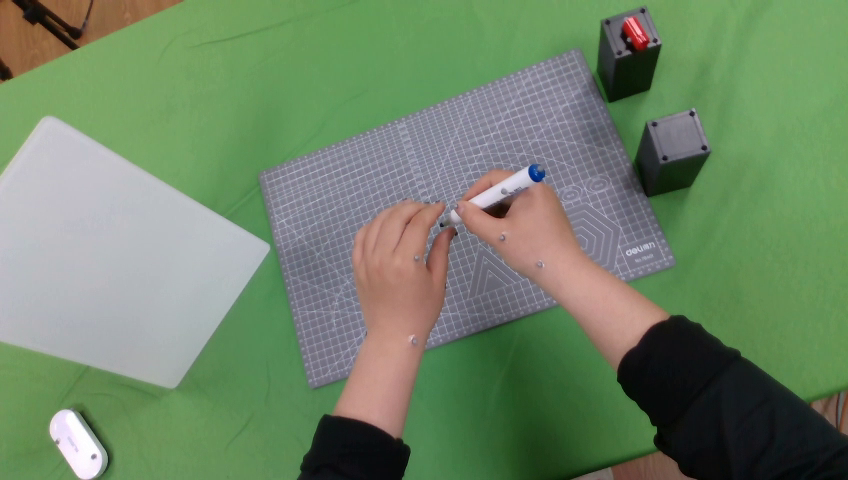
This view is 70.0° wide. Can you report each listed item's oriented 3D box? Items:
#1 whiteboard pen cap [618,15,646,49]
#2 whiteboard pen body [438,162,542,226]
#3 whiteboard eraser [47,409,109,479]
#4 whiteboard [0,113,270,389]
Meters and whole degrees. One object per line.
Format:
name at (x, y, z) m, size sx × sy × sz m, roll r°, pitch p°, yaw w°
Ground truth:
whiteboard pen cap at (0.221, -0.220, 0.641) m, size 0.017 × 0.017 × 0.032 m, roll -25°, pitch 73°, yaw 5°
whiteboard pen body at (0.052, -0.035, 0.530) m, size 0.017 × 0.140 × 0.016 m, roll 12°, pitch 66°, yaw -30°
whiteboard eraser at (-0.436, 0.255, 0.760) m, size 0.100 × 0.019 × 0.041 m, roll 43°, pitch 86°, yaw 18°
whiteboard at (-0.374, 0.011, 0.695) m, size 0.142 × 0.309 × 0.217 m, roll 28°, pitch 83°, yaw 38°
